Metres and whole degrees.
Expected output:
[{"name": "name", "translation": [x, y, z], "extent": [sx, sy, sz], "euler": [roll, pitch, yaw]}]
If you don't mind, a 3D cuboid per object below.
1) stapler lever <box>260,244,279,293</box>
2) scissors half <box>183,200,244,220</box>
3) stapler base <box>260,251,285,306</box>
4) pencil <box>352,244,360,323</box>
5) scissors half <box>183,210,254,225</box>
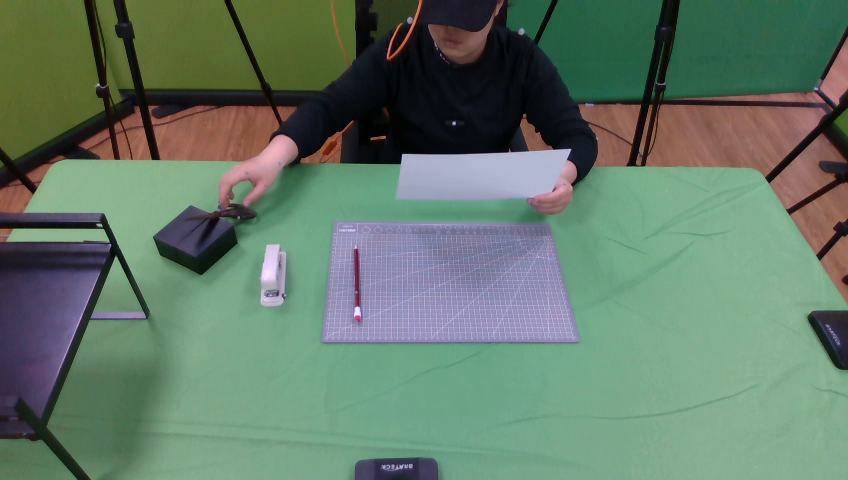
[{"name": "stapler lever", "translation": [-0.279, 0.045, 1.096], "extent": [0.027, 0.040, 0.117], "euler": [-2, 44, -9]}, {"name": "scissors half", "translation": [-0.405, -0.054, 1.163], "extent": [0.040, 0.013, 0.175], "euler": [31, 18, 6]}, {"name": "stapler base", "translation": [-0.279, 0.064, 1.113], "extent": [0.041, 0.024, 0.129], "euler": [-2, 44, -9]}, {"name": "pencil", "translation": [-0.127, 0.075, 1.120], "extent": [0.012, 0.012, 0.192], "euler": [-3, 44, -7]}, {"name": "scissors half", "translation": [-0.390, -0.042, 1.158], "extent": [0.040, 0.013, 0.175], "euler": [43, 22, 21]}]
